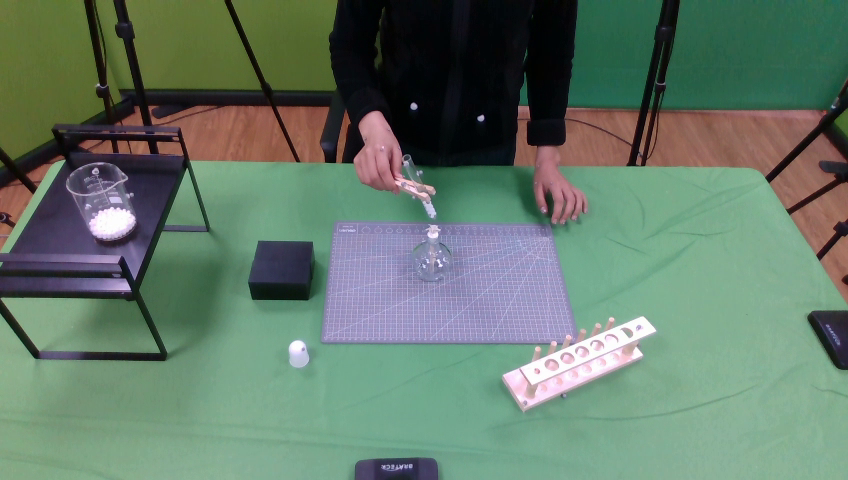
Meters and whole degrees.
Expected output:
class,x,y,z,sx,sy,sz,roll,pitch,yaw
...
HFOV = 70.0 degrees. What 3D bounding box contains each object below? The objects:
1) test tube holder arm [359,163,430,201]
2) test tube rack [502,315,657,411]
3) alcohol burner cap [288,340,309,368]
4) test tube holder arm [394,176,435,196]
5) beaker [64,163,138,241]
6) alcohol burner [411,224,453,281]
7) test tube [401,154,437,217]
class,x,y,z,sx,sy,sz,roll,pitch,yaw
test tube holder arm,-0.054,-0.102,1.041,0.177,0.015,0.013,26,65,39
test tube rack,0.253,0.186,0.988,0.242,0.085,0.066,-18,50,-20
alcohol burner cap,-0.207,0.183,0.991,0.034,0.048,0.033,3,47,-3
test tube holder arm,-0.018,-0.092,1.015,0.087,0.015,0.010,19,61,36
beaker,-0.477,-0.055,0.910,0.084,0.101,0.073,-9,48,-13
alcohol burner,0.015,0.018,1.110,0.078,0.120,0.077,1,45,-1
test tube,-0.006,-0.086,0.994,0.017,0.151,0.017,-11,51,14
